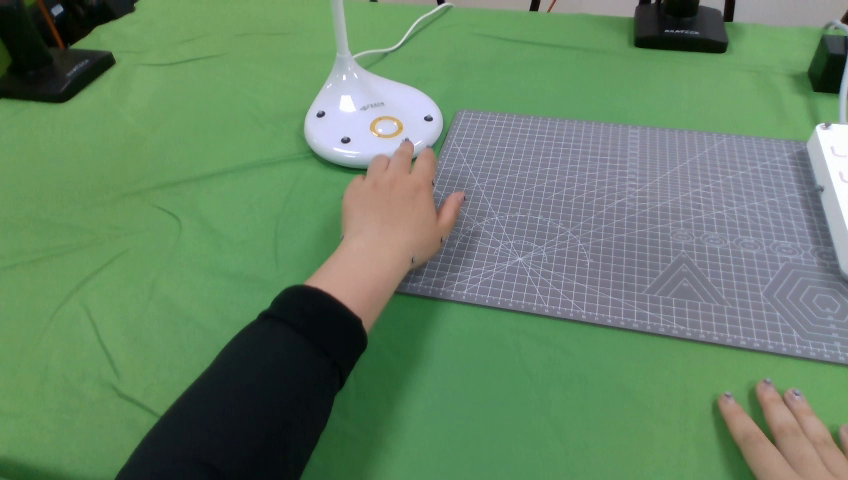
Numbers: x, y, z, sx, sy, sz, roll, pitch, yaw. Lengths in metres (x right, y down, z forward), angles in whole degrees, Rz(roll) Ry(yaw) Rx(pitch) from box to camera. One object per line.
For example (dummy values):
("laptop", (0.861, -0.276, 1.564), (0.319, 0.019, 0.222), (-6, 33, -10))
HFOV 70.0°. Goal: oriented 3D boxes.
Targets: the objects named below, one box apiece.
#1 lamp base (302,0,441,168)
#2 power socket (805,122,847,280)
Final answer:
("lamp base", (-0.072, -0.195, 0.652), (0.161, 0.182, 0.177), (-28, 46, -24))
("power socket", (0.408, -0.039, 0.559), (0.072, 0.033, 0.225), (10, 45, 12))
